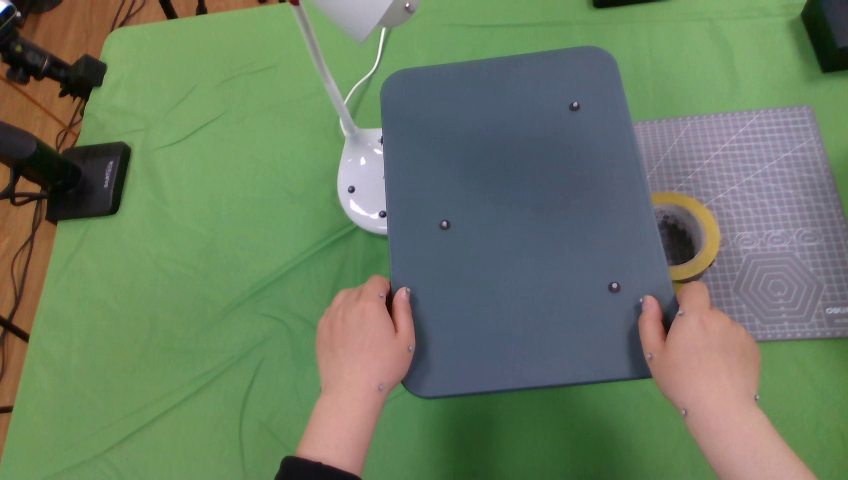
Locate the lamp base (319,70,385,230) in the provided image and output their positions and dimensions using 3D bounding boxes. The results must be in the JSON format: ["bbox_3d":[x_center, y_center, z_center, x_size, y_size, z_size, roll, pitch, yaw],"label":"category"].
[{"bbox_3d":[-0.066,-0.122,0.750,0.178,0.182,0.160,34,78,25],"label":"lamp base"}]

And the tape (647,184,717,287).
[{"bbox_3d":[0.274,-0.004,0.702,0.117,0.053,0.116,-4,67,9],"label":"tape"}]

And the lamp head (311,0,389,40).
[{"bbox_3d":[-0.070,-0.235,0.472,0.123,0.112,0.112,30,74,-14],"label":"lamp head"}]

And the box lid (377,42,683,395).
[{"bbox_3d":[0.089,-0.041,0.609,0.263,0.015,0.368,-7,67,3],"label":"box lid"}]
